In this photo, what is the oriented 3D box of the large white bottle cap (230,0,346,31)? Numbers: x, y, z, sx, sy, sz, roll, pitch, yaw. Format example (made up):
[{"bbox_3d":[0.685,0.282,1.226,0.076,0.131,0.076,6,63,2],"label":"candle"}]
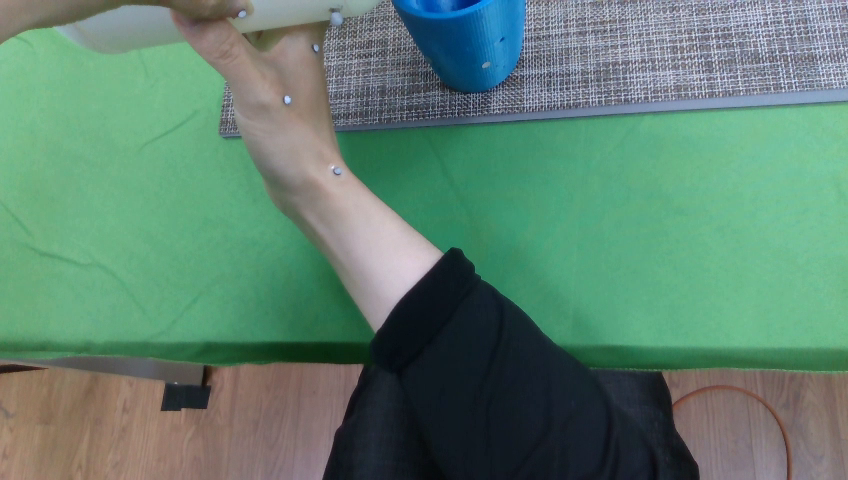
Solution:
[{"bbox_3d":[-0.106,-0.220,0.481,0.114,0.018,0.114,-3,74,10],"label":"large white bottle cap"}]

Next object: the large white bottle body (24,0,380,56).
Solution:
[{"bbox_3d":[-0.091,-0.168,0.288,0.184,0.131,0.129,-8,72,3],"label":"large white bottle body"}]

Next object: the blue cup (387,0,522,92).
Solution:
[{"bbox_3d":[0.024,-0.147,0.387,0.092,0.101,0.092,-4,72,12],"label":"blue cup"}]
